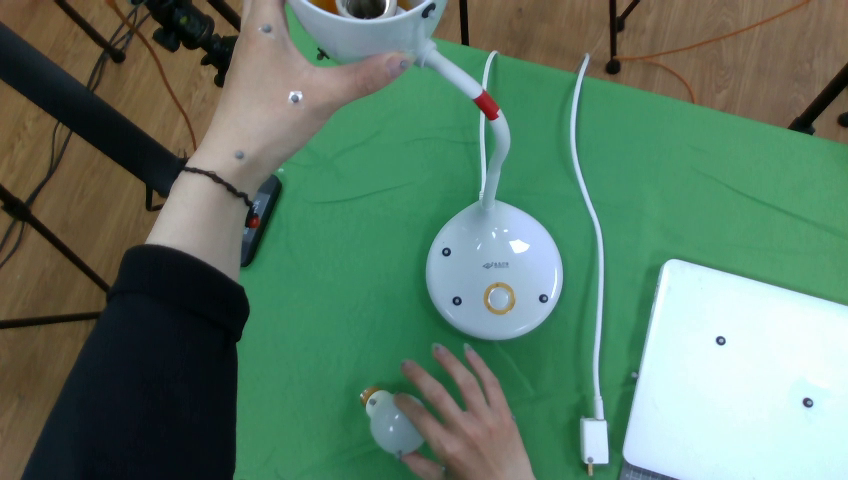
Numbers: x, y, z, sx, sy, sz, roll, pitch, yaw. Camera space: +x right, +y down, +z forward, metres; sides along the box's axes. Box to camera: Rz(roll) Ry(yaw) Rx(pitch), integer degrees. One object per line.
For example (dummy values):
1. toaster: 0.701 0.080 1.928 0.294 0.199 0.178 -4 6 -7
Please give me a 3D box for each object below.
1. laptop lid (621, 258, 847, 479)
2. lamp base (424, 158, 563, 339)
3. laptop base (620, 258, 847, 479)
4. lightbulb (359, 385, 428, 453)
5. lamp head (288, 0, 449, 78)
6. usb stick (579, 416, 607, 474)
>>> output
1. laptop lid: 0.408 0.173 0.647 0.356 0.013 0.241 17 78 7
2. lamp base: 0.073 0.002 0.634 0.161 0.181 0.178 -14 72 -1
3. laptop base: 0.409 0.174 0.659 0.354 0.023 0.234 16 78 7
4. lightbulb: -0.038 0.182 0.640 0.060 0.107 0.060 -8 105 -31
5. lamp head: -0.032 -0.159 0.398 0.112 0.123 0.112 0 75 1
6. usb stick: 0.181 0.221 0.651 0.027 0.021 0.059 2 84 2
